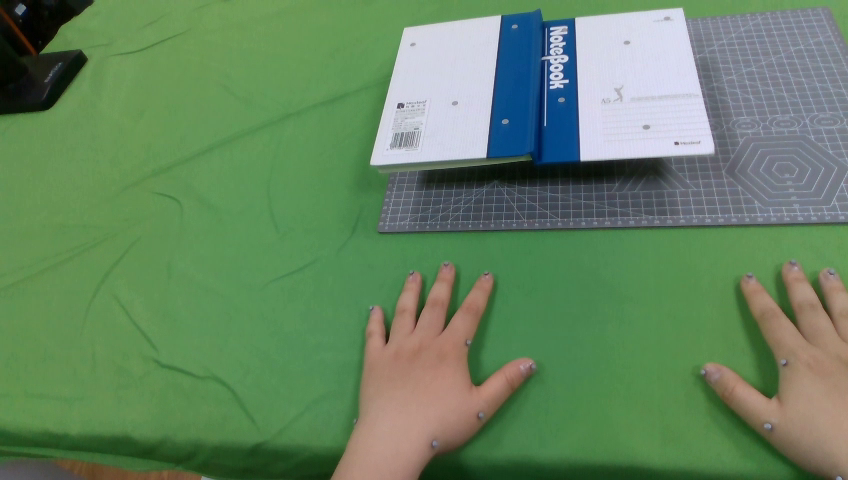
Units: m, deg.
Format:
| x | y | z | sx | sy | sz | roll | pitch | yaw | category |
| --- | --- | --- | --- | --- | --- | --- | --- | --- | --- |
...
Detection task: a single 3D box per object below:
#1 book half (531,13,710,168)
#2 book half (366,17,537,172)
| x | y | z | sx | sy | sz | roll | pitch | yaw | category |
| --- | --- | --- | --- | --- | --- | --- | --- | --- | --- |
| 0.174 | -0.144 | 0.562 | 0.143 | 0.007 | 0.208 | -1 | 51 | 13 | book half |
| 0.033 | -0.145 | 0.589 | 0.148 | 0.016 | 0.208 | -2 | 52 | 14 | book half |
